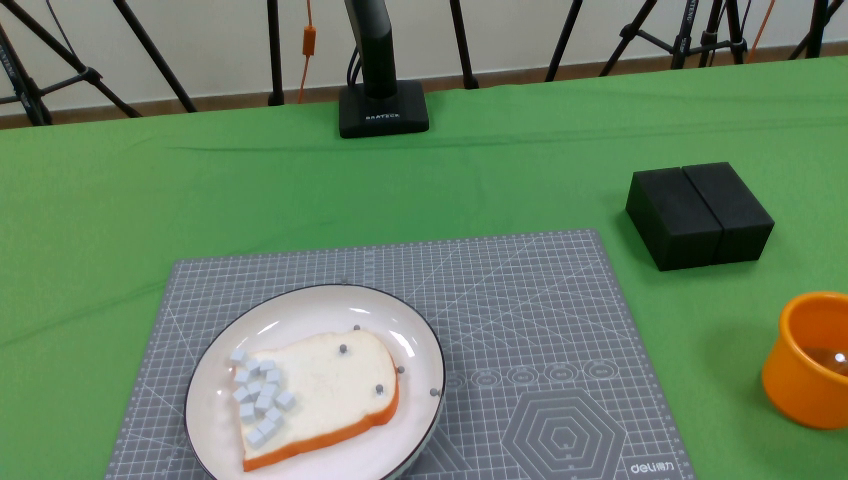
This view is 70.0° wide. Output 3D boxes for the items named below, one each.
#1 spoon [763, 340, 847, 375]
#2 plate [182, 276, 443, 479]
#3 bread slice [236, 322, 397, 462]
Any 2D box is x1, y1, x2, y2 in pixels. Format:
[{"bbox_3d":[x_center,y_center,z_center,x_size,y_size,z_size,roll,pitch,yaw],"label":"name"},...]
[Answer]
[{"bbox_3d":[0.347,0.077,0.441,0.041,0.193,0.022,-41,98,-37],"label":"spoon"},{"bbox_3d":[-0.087,0.117,0.498,0.209,0.038,0.207,-1,44,1],"label":"plate"},{"bbox_3d":[-0.090,0.115,0.504,0.132,0.019,0.103,-15,46,-11],"label":"bread slice"}]
